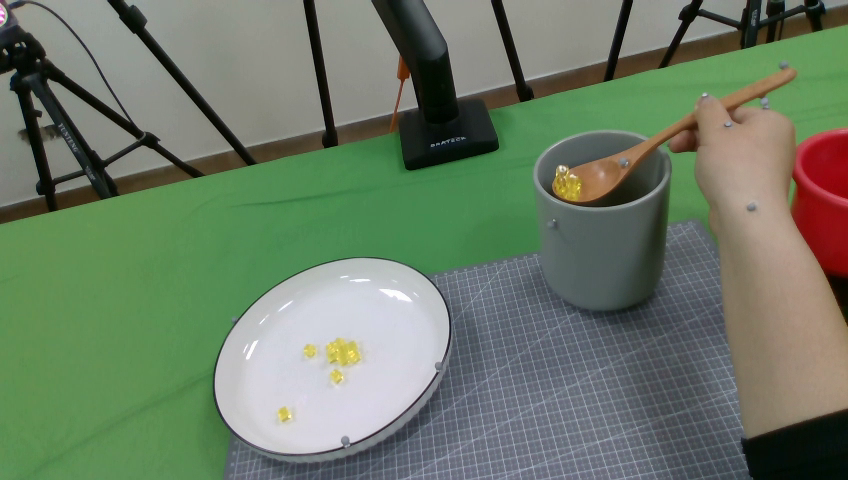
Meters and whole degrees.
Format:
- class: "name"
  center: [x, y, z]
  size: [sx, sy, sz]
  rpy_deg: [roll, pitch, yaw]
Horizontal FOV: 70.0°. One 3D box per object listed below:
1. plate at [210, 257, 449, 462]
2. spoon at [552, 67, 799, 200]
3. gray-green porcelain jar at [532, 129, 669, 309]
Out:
- class: "plate"
  center: [-0.079, 0.100, 0.527]
  size: [0.207, 0.039, 0.205]
  rpy_deg: [-8, 42, 8]
- class: "spoon"
  center: [0.189, -0.081, 0.460]
  size: [0.193, 0.022, 0.041]
  rpy_deg: [-29, 41, 14]
- class: "gray-green porcelain jar"
  center: [0.149, -0.012, 0.514]
  size: [0.106, 0.128, 0.105]
  rpy_deg: [-9, 42, 8]
